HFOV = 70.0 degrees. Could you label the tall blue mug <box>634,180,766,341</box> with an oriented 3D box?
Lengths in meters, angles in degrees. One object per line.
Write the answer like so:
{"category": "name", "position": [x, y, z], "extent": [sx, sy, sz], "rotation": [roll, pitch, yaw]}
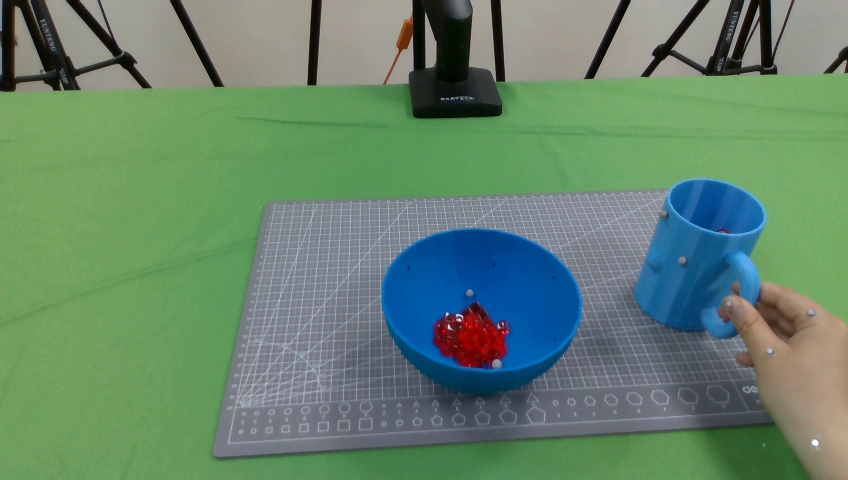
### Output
{"category": "tall blue mug", "position": [0.240, 0.023, 0.508], "extent": [0.078, 0.109, 0.106], "rotation": [-26, 48, -28]}

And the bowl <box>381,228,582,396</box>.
{"category": "bowl", "position": [0.041, 0.068, 0.474], "extent": [0.151, 0.077, 0.150], "rotation": [1, 41, -1]}
